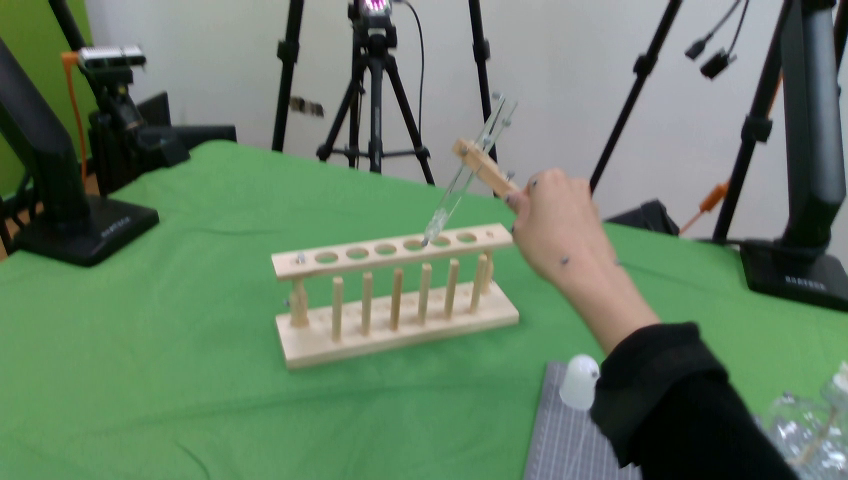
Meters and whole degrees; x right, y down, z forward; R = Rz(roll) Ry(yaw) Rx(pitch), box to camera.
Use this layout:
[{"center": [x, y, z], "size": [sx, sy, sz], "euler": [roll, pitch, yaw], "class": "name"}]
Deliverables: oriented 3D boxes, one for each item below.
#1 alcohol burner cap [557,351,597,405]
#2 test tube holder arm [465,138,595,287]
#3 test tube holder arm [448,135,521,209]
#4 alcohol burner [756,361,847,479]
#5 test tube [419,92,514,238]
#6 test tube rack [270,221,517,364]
[{"center": [0.140, 0.121, 0.546], "size": [0.034, 0.048, 0.033], "euler": [4, 33, -2], "class": "alcohol burner cap"}, {"center": [0.079, -0.028, 0.493], "size": [0.013, 0.015, 0.176], "euler": [4, 39, -44], "class": "test tube holder arm"}, {"center": [0.052, -0.058, 0.512], "size": [0.010, 0.015, 0.087], "euler": [-5, 45, -51], "class": "test tube holder arm"}, {"center": [0.310, 0.138, 0.475], "size": [0.078, 0.120, 0.077], "euler": [4, 34, -2], "class": "alcohol burner"}, {"center": [0.035, -0.062, 0.534], "size": [0.017, 0.151, 0.017], "euler": [25, 26, -12], "class": "test tube"}, {"center": [-0.023, 0.048, 0.604], "size": [0.243, 0.086, 0.066], "euler": [-8, 34, -20], "class": "test tube rack"}]
